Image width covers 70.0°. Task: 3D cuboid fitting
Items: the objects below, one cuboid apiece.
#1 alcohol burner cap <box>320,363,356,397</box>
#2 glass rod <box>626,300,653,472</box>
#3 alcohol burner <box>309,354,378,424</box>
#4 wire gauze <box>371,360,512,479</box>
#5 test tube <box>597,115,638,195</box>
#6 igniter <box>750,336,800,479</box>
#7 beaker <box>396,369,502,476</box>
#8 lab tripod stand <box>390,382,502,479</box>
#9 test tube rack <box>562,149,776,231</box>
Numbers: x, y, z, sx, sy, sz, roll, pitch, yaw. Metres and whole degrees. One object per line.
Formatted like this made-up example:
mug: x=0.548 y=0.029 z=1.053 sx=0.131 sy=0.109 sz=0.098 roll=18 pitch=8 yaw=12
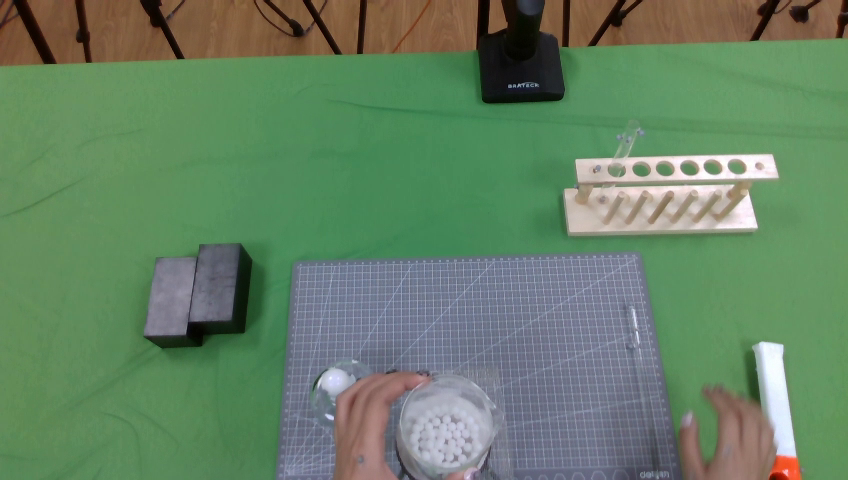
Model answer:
alcohol burner cap: x=-0.091 y=0.144 z=0.628 sx=0.034 sy=0.048 sz=0.033 roll=-2 pitch=70 yaw=5
glass rod: x=0.253 y=0.166 z=0.710 sx=0.008 sy=0.008 sz=0.198 roll=0 pitch=69 yaw=1
alcohol burner: x=-0.090 y=0.158 z=0.661 sx=0.078 sy=0.120 sz=0.077 roll=0 pitch=63 yaw=1
wire gauze: x=0.014 y=0.176 z=0.567 sx=0.125 sy=0.011 sz=0.120 roll=-4 pitch=65 yaw=-1
test tube: x=0.232 y=-0.098 z=0.736 sx=0.017 sy=0.151 sz=0.017 roll=-1 pitch=62 yaw=2
igniter: x=0.391 y=0.242 z=0.667 sx=0.057 sy=0.025 sz=0.274 roll=10 pitch=66 yaw=-6
beaker: x=0.020 y=0.159 z=0.514 sx=0.084 sy=0.101 sz=0.073 roll=-7 pitch=63 yaw=-4
lab tripod stand: x=0.017 y=0.207 z=0.627 sx=0.148 sy=0.132 sz=0.147 roll=-1 pitch=65 yaw=3
test tube rack: x=0.307 y=-0.061 z=0.772 sx=0.242 sy=0.086 sz=0.066 roll=-1 pitch=65 yaw=1
